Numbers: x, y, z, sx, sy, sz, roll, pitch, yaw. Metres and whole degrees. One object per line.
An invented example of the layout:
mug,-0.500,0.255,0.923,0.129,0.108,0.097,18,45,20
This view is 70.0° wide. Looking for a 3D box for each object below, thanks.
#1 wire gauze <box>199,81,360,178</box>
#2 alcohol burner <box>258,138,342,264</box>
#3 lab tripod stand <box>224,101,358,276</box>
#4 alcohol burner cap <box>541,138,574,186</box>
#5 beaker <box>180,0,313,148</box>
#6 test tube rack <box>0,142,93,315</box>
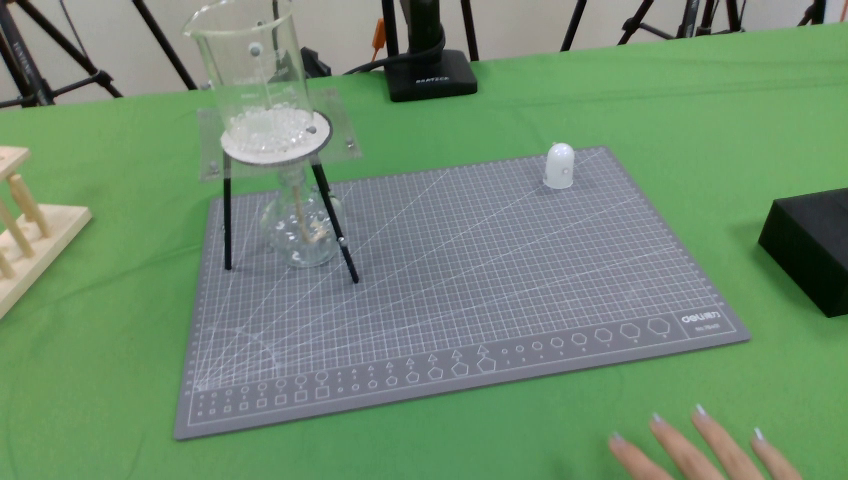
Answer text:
wire gauze,-0.123,-0.092,0.497,0.125,0.011,0.120,-14,41,-8
alcohol burner,-0.115,-0.038,0.549,0.078,0.120,0.077,-3,40,3
lab tripod stand,-0.120,-0.043,0.540,0.148,0.133,0.147,-2,43,2
alcohol burner cap,0.143,-0.085,0.641,0.034,0.048,0.033,-2,41,2
beaker,-0.130,-0.128,0.464,0.084,0.101,0.073,-13,42,-9
test tube rack,-0.405,0.016,0.532,0.066,0.086,0.240,5,42,8
